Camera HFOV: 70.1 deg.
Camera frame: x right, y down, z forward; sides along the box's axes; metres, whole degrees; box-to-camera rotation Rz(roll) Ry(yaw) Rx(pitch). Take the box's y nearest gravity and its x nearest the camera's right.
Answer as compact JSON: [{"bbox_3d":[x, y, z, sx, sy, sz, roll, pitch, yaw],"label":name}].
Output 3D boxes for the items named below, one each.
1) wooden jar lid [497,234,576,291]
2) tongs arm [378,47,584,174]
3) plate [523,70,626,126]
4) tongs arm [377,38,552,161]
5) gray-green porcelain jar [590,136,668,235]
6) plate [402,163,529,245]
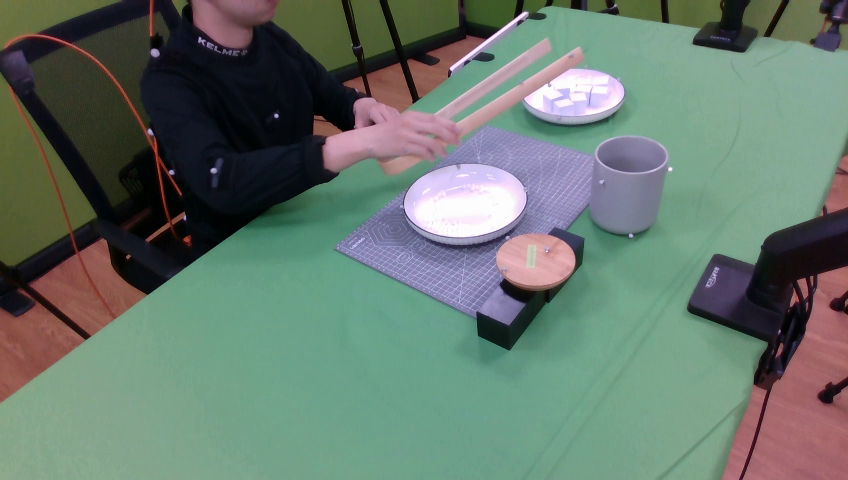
[{"bbox_3d":[0.155,0.032,0.834,0.108,0.021,0.108,-5,40,5],"label":"wooden jar lid"},{"bbox_3d":[0.097,-0.218,1.014,0.385,0.027,0.050,-33,36,-5],"label":"tongs arm"},{"bbox_3d":[0.308,-0.290,1.251,0.207,0.039,0.206,-4,40,4],"label":"plate"},{"bbox_3d":[0.076,-0.243,1.061,0.388,0.028,0.028,-36,40,-10],"label":"tongs arm"},{"bbox_3d":[0.314,-0.080,0.937,0.106,0.127,0.105,-4,41,4],"label":"gray-green porcelain jar"},{"bbox_3d":[0.069,-0.056,1.008,0.209,0.038,0.208,-4,40,4],"label":"plate"}]
